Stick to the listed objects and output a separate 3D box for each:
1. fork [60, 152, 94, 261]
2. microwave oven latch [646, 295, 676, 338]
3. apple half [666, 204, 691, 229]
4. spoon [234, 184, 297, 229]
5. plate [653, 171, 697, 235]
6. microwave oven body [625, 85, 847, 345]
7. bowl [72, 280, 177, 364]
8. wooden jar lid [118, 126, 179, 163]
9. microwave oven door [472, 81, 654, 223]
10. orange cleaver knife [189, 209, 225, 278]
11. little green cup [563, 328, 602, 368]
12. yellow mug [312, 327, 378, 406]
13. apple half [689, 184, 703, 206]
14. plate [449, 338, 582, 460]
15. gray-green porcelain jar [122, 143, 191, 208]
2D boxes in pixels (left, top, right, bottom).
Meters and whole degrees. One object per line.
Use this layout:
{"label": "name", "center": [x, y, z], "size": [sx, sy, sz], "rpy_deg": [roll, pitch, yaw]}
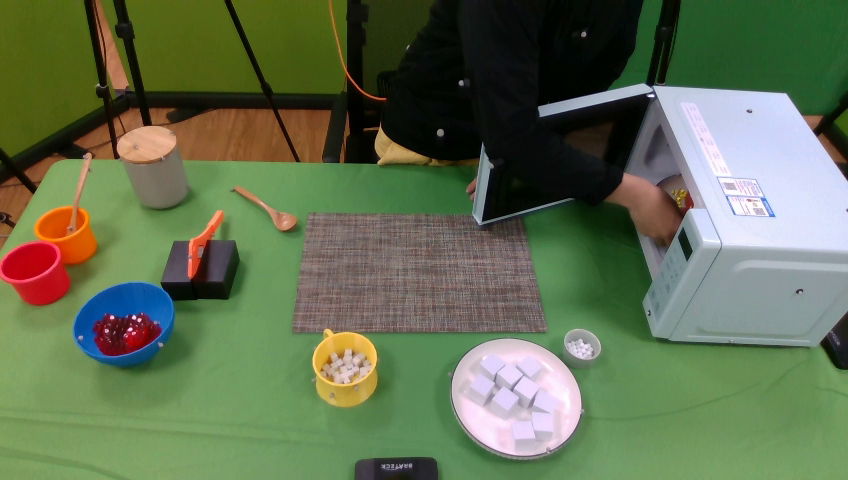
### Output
{"label": "fork", "center": [-0.638, -0.063, 1.120], "size": [0.028, 0.018, 0.207], "rpy_deg": [12, 90, 5]}
{"label": "microwave oven latch", "center": [0.412, 0.133, 1.060], "size": [0.030, 0.029, 0.078], "rpy_deg": [4, 46, 1]}
{"label": "apple half", "center": [0.507, -0.047, 1.167], "size": [0.081, 0.033, 0.081], "rpy_deg": [5, 47, -6]}
{"label": "spoon", "center": [-0.328, -0.073, 1.240], "size": [0.193, 0.022, 0.041], "rpy_deg": [34, 70, 25]}
{"label": "plate", "center": [0.552, -0.054, 1.189], "size": [0.209, 0.038, 0.208], "rpy_deg": [2, 47, -2]}
{"label": "microwave oven body", "center": [0.568, -0.054, 1.116], "size": [0.326, 0.261, 0.439], "rpy_deg": [2, 46, -1]}
{"label": "bowl", "center": [-0.473, 0.146, 0.982], "size": [0.151, 0.077, 0.150], "rpy_deg": [2, 46, -2]}
{"label": "wooden jar lid", "center": [-0.528, -0.181, 1.167], "size": [0.108, 0.021, 0.107], "rpy_deg": [3, 48, -4]}
{"label": "microwave oven door", "center": [0.273, -0.174, 1.203], "size": [0.356, 0.245, 0.039], "rpy_deg": [-16, 50, -18]}
{"label": "orange cleaver knife", "center": [-0.401, 0.002, 1.122], "size": [0.012, 0.077, 0.210], "rpy_deg": [4, 23, -4]}
{"label": "little green cup", "center": [0.266, 0.185, 1.025], "size": [0.061, 0.039, 0.061], "rpy_deg": [3, 43, -2]}
{"label": "yellow mug", "center": [-0.132, 0.193, 0.971], "size": [0.100, 0.064, 0.130], "rpy_deg": [-22, 51, -22]}
{"label": "apple half", "center": [0.567, -0.091, 1.192], "size": [0.081, 0.053, 0.074], "rpy_deg": [1, 36, 12]}
{"label": "plate", "center": [0.141, 0.251, 0.955], "size": [0.208, 0.039, 0.206], "rpy_deg": [2, 46, -2]}
{"label": "gray-green porcelain jar", "center": [-0.531, -0.137, 1.213], "size": [0.106, 0.127, 0.105], "rpy_deg": [2, 47, -2]}
